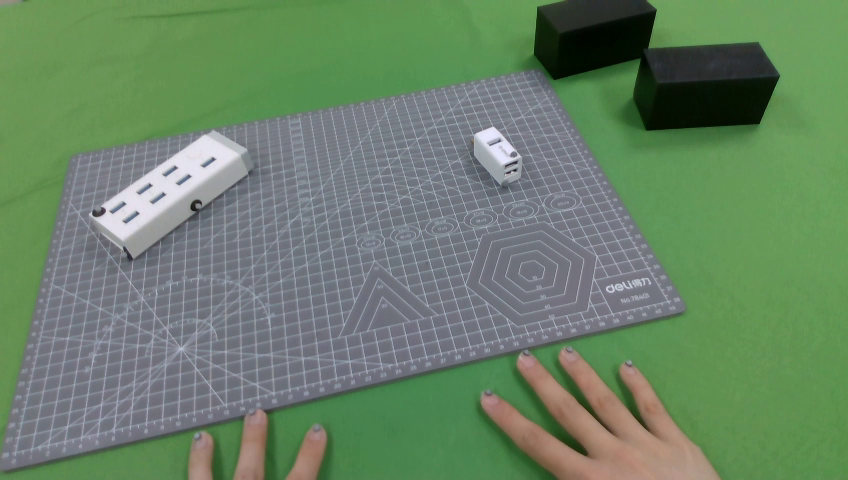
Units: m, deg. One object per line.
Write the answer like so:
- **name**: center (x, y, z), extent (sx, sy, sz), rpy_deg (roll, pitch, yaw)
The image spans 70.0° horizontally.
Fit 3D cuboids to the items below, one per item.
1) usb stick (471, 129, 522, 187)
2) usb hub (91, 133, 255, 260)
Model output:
- **usb stick**: center (0.058, -0.073, 0.508), extent (0.021, 0.027, 0.058), rpy_deg (-25, 49, -12)
- **usb hub**: center (-0.204, -0.040, 0.500), extent (0.049, 0.025, 0.125), rpy_deg (29, 57, 26)
